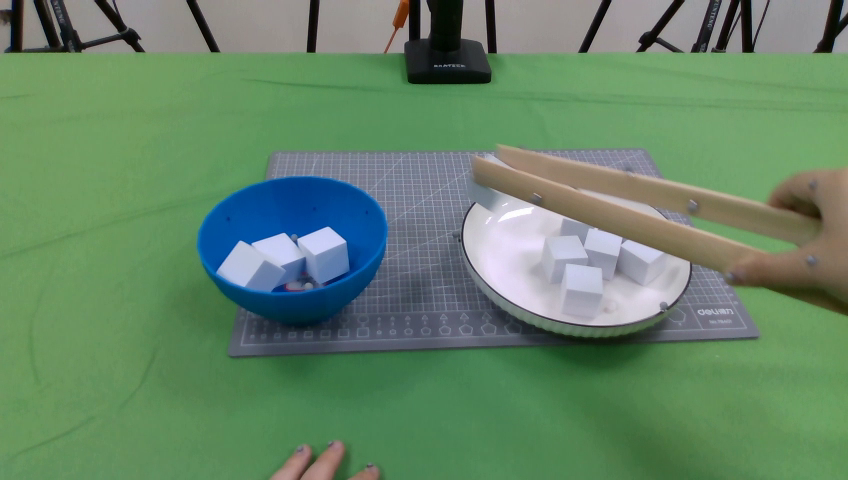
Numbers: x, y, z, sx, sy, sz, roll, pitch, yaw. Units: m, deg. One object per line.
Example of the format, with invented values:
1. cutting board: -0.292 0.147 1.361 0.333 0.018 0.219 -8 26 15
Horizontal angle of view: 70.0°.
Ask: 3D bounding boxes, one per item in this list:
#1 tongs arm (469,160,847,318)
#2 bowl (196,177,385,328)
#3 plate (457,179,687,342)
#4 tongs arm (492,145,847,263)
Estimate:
1. tongs arm: 0.186 0.003 0.397 0.384 0.028 0.028 22 40 34
2. bowl: -0.107 0.021 0.512 0.151 0.077 0.150 2 41 -1
3. plate: 0.133 0.017 0.563 0.208 0.039 0.205 2 41 -1
4. tongs arm: 0.201 -0.008 0.410 0.382 0.027 0.050 19 42 31
